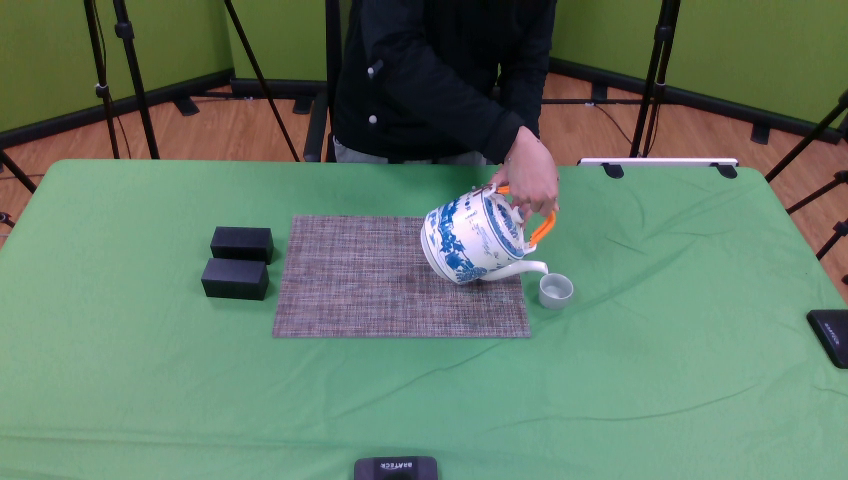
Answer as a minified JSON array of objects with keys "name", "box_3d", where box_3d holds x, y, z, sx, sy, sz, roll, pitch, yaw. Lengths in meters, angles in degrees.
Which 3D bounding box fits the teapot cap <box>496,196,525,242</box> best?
[{"name":"teapot cap","box_3d":[0.147,-0.037,1.028,0.044,0.085,0.084,-23,39,26]}]

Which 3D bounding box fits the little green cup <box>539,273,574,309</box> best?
[{"name":"little green cup","box_3d":[0.241,0.096,1.113,0.061,0.039,0.061,3,47,-2]}]

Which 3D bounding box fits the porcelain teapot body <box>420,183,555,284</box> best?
[{"name":"porcelain teapot body","box_3d":[0.133,-0.002,1.061,0.225,0.206,0.144,-25,29,26]}]
